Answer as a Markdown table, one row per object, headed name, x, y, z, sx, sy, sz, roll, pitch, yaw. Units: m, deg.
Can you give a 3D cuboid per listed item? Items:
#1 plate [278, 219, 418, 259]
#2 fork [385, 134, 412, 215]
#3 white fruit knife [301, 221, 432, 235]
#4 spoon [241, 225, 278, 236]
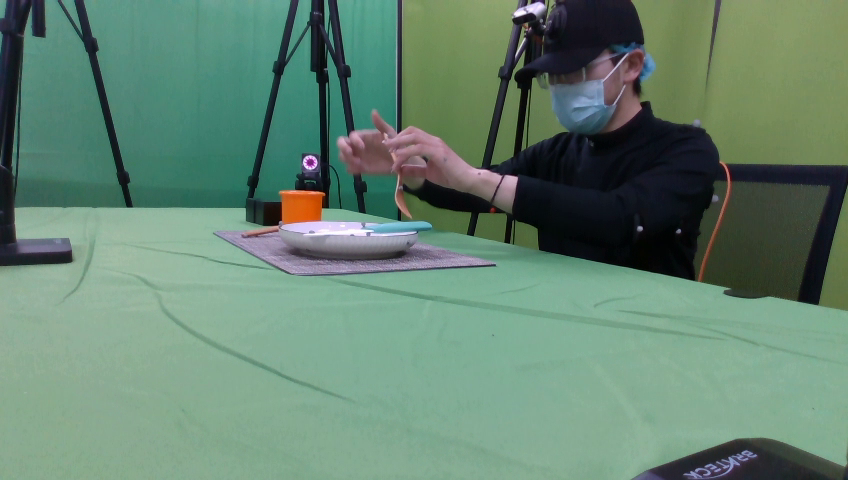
| name | x | y | z | sx | sy | sz | roll | pitch | yaw |
| --- | --- | --- | --- | --- | --- | --- | --- | --- | --- |
| plate | -0.114 | -0.002 | 0.914 | 0.209 | 0.038 | 0.209 | 2 | 8 | 0 |
| fork | -0.047 | -0.118 | 1.040 | 0.018 | 0.206 | 0.028 | -35 | -45 | 27 |
| white fruit knife | -0.079 | -0.015 | 0.858 | 0.208 | 0.016 | 0.027 | -4 | 14 | -37 |
| spoon | -0.232 | -0.021 | 1.082 | 0.195 | 0.021 | 0.041 | -3 | 27 | -37 |
